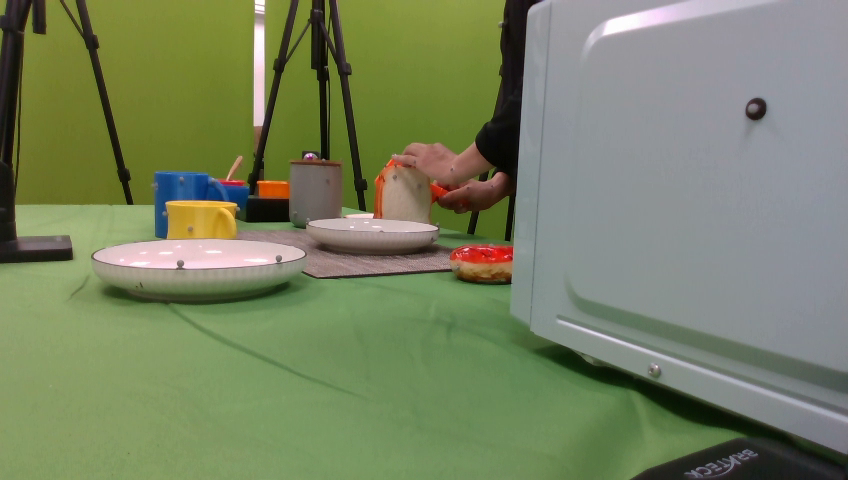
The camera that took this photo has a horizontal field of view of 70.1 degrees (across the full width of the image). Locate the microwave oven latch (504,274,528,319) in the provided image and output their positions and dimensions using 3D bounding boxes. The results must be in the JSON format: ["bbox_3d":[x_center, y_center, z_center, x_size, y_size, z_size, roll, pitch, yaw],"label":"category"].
[{"bbox_3d":[0.100,0.041,0.471,0.079,0.029,0.030,-1,8,-28],"label":"microwave oven latch"}]

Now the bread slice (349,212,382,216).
[{"bbox_3d":[-0.104,-0.032,1.248,0.105,0.019,0.131,-7,21,-25],"label":"bread slice"}]

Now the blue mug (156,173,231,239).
[{"bbox_3d":[-0.381,-0.057,1.004,0.117,0.106,0.082,1,8,-12],"label":"blue mug"}]

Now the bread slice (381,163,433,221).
[{"bbox_3d":[-0.034,-0.075,1.121,0.107,0.134,0.018,-4,6,-26],"label":"bread slice"}]

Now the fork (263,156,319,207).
[{"bbox_3d":[-0.331,-0.144,1.505,0.207,0.018,0.028,-42,-20,22],"label":"fork"}]

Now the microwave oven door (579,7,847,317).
[{"bbox_3d":[0.294,-0.067,0.570,0.358,0.243,0.039,-3,9,-31],"label":"microwave oven door"}]

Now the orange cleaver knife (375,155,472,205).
[{"bbox_3d":[0.002,-0.098,1.191,0.212,0.077,0.012,24,-2,-27],"label":"orange cleaver knife"}]

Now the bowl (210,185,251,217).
[{"bbox_3d":[-0.408,-0.064,1.154,0.151,0.077,0.151,2,8,0],"label":"bowl"}]

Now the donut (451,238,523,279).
[{"bbox_3d":[0.083,0.022,0.745,0.099,0.048,0.099,1,5,0],"label":"donut"}]

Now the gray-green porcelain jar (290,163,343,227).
[{"bbox_3d":[-0.217,-0.091,1.221,0.106,0.126,0.106,2,7,0],"label":"gray-green porcelain jar"}]

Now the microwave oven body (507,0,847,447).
[{"bbox_3d":[0.331,-0.042,0.425,0.444,0.260,0.324,-2,8,-31],"label":"microwave oven body"}]

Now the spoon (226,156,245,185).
[{"bbox_3d":[-0.477,-0.145,1.492,0.041,0.022,0.193,0,51,12],"label":"spoon"}]

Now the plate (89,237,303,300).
[{"bbox_3d":[-0.233,0.029,0.637,0.208,0.039,0.207,2,7,0],"label":"plate"}]

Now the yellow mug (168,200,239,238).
[{"bbox_3d":[-0.319,-0.023,0.904,0.130,0.064,0.100,9,11,36],"label":"yellow mug"}]

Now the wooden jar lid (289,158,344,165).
[{"bbox_3d":[-0.215,-0.153,1.212,0.108,0.020,0.108,2,5,0],"label":"wooden jar lid"}]

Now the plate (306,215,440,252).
[{"bbox_3d":[-0.079,-0.011,0.950,0.209,0.038,0.209,2,8,0],"label":"plate"}]
